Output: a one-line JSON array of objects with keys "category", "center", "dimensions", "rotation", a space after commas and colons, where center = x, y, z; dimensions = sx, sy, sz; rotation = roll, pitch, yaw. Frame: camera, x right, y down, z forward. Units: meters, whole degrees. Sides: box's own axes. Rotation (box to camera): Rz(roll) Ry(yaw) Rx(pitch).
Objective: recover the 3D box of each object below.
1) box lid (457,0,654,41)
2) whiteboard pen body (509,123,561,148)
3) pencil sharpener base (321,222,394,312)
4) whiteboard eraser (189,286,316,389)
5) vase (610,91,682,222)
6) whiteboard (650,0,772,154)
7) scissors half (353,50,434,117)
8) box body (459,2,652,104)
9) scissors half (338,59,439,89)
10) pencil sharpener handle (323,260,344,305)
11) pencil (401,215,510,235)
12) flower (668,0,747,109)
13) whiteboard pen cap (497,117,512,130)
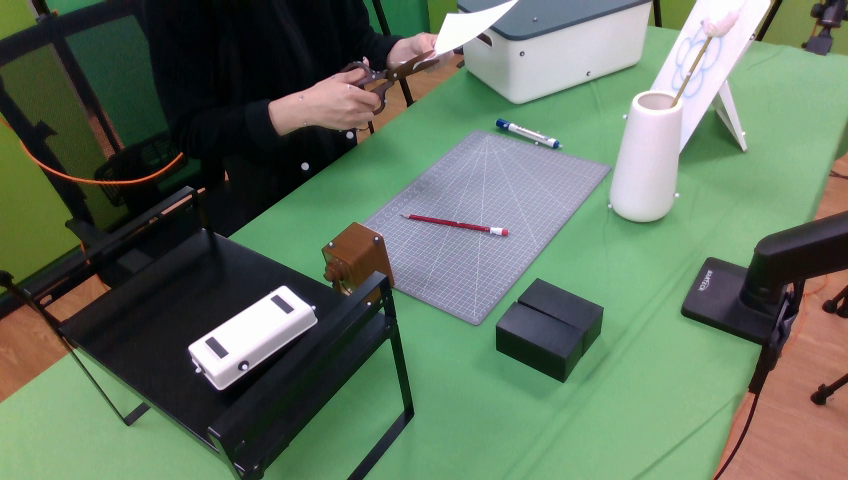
[{"category": "box lid", "center": [0.285, -0.522, 1.323], "dimensions": [0.373, 0.015, 0.261], "rotation": [-22, 43, -16]}, {"category": "whiteboard pen body", "center": [0.209, -0.211, 1.195], "dimensions": [0.139, 0.017, 0.017], "rotation": [30, 52, 33]}, {"category": "pencil sharpener base", "center": [-0.096, 0.041, 0.873], "dimensions": [0.061, 0.107, 0.077], "rotation": [26, 54, 32]}, {"category": "whiteboard eraser", "center": [-0.166, 0.096, 0.593], "dimensions": [0.113, 0.042, 0.055], "rotation": [-36, 47, -29]}, {"category": "vase", "center": [0.348, -0.125, 0.935], "dimensions": [0.098, 0.201, 0.097], "rotation": [-3, 40, 3]}, {"category": "whiteboard", "center": [0.543, -0.298, 1.076], "dimensions": [0.144, 0.305, 0.216], "rotation": [12, 40, -7]}, {"category": "scissors half", "center": [-0.047, -0.238, 0.922], "dimensions": [0.174, 0.040, 0.013], "rotation": [-32, 13, 38]}, {"category": "box body", "center": [0.291, -0.465, 1.371], "dimensions": [0.365, 0.161, 0.252], "rotation": [-22, 42, -16]}, {"category": "scissors half", "center": [-0.057, -0.257, 0.914], "dimensions": [0.174, 0.040, 0.013], "rotation": [-1, 35, 26]}, {"category": "pencil sharpener handle", "center": [-0.131, 0.062, 0.839], "dimensions": [0.035, 0.068, 0.031], "rotation": [29, 55, 28]}, {"category": "pencil", "center": [0.049, -0.027, 1.007], "dimensions": [0.193, 0.012, 0.012], "rotation": [10, 43, 21]}, {"category": "flower", "center": [0.354, -0.187, 0.879], "dimensions": [0.038, 0.362, 0.044], "rotation": [30, 48, 14]}, {"category": "whiteboard pen cap", "center": [0.165, -0.235, 1.226], "dimensions": [0.033, 0.018, 0.018], "rotation": [31, 53, 31]}]
